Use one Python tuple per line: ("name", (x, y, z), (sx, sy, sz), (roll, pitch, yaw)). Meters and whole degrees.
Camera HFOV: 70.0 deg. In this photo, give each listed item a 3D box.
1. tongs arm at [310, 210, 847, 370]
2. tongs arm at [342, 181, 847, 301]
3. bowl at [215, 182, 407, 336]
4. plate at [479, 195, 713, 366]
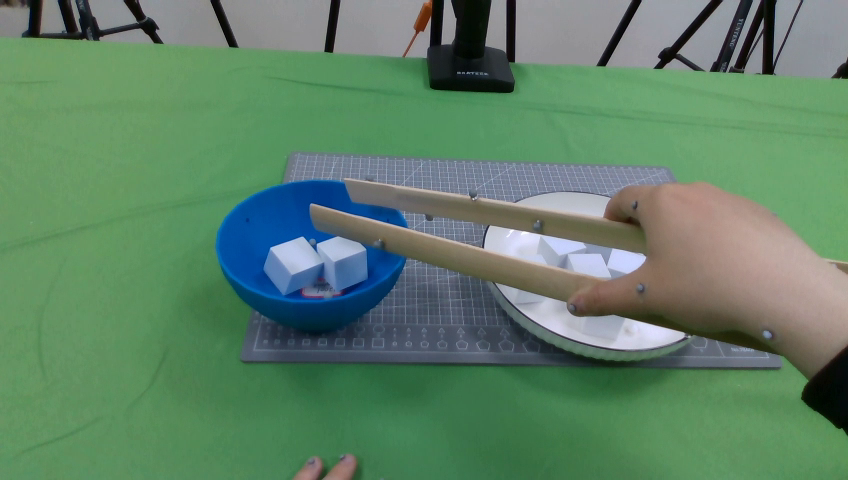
("tongs arm", (0.081, 0.022, 0.385), (0.385, 0.028, 0.028), (12, 39, 27))
("tongs arm", (0.096, 0.005, 0.403), (0.382, 0.027, 0.050), (10, 41, 25))
("bowl", (-0.089, 0.026, 0.502), (0.151, 0.077, 0.150), (4, 41, -3))
("plate", (0.150, 0.035, 0.552), (0.208, 0.039, 0.205), (4, 41, -3))
